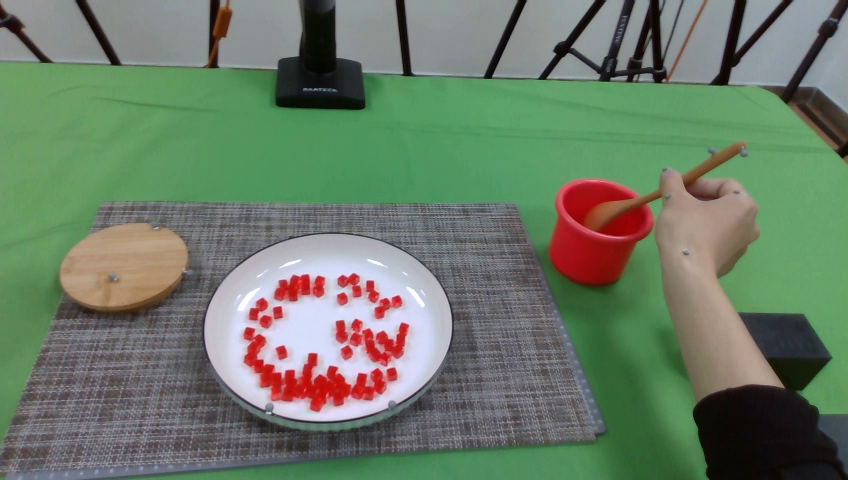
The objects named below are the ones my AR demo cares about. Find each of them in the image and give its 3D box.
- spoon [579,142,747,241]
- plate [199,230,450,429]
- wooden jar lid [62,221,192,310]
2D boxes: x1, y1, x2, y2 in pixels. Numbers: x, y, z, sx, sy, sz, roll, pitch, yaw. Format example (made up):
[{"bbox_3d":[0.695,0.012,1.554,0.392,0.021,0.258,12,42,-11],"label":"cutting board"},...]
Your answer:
[{"bbox_3d":[0.222,-0.045,0.589,0.022,0.193,0.041,40,49,-18],"label":"spoon"},{"bbox_3d":[-0.082,0.074,0.524,0.208,0.039,0.205,5,43,-4],"label":"plate"},{"bbox_3d":[-0.272,0.024,0.560,0.108,0.021,0.107,6,42,-5],"label":"wooden jar lid"}]
